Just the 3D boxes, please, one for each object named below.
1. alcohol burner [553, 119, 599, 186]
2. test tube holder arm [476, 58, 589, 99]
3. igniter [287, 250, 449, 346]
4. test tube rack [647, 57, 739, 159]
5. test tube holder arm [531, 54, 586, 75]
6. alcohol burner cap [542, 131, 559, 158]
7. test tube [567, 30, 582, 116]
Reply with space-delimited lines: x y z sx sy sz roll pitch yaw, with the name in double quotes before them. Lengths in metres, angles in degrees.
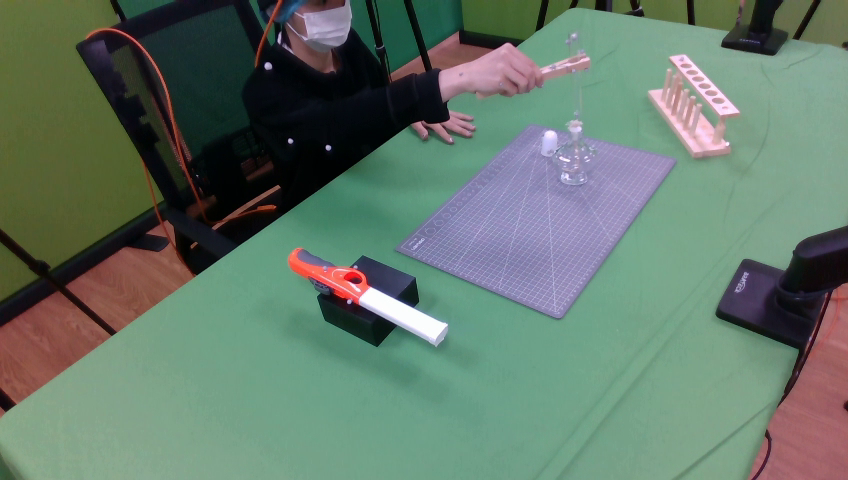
"alcohol burner" 0.261 -0.153 1.042 0.078 0.119 0.077 -6 40 6
"test tube holder arm" 0.167 -0.249 0.932 0.178 0.015 0.013 -16 44 2
"igniter" -0.087 0.073 0.825 0.274 0.025 0.057 23 48 27
"test tube rack" 0.504 -0.257 1.153 0.067 0.085 0.241 -8 40 1
"test tube holder arm" 0.208 -0.267 0.936 0.088 0.015 0.010 -21 45 -4
"alcohol burner cap" 0.237 -0.180 1.134 0.034 0.048 0.033 -5 41 5
"test tube" 0.236 -0.258 0.947 0.017 0.151 0.017 -9 46 10
